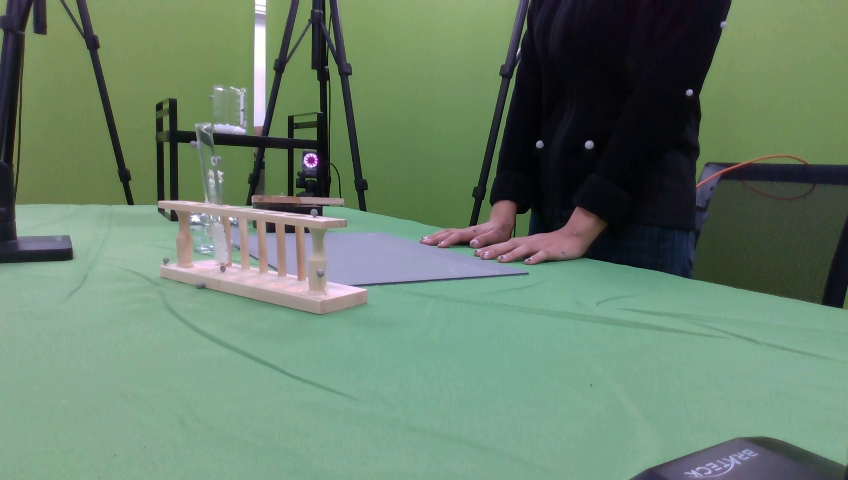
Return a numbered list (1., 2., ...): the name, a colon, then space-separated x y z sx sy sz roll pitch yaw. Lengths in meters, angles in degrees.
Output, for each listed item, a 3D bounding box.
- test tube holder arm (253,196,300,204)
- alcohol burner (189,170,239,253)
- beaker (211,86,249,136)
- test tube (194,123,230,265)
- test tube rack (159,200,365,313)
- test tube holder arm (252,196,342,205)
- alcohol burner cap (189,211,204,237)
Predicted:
1. test tube holder arm: -0.276 -0.075 1.135 0.088 0.015 0.010 0 7 -32
2. alcohol burner: -0.303 -0.042 0.871 0.078 0.119 0.078 3 6 0
3. beaker: -0.413 -0.274 1.297 0.074 0.100 0.083 -5 11 -44
4. test tube: -0.218 -0.045 0.624 0.017 0.150 0.017 -2 19 1
5. test tube rack: -0.173 0.009 0.625 0.241 0.085 0.067 7 9 34
6. test tube holder arm: -0.241 -0.076 1.164 0.179 0.015 0.013 -1 7 -33
7. alcohol burner cap: -0.389 -0.029 1.026 0.034 0.048 0.034 3 8 0
